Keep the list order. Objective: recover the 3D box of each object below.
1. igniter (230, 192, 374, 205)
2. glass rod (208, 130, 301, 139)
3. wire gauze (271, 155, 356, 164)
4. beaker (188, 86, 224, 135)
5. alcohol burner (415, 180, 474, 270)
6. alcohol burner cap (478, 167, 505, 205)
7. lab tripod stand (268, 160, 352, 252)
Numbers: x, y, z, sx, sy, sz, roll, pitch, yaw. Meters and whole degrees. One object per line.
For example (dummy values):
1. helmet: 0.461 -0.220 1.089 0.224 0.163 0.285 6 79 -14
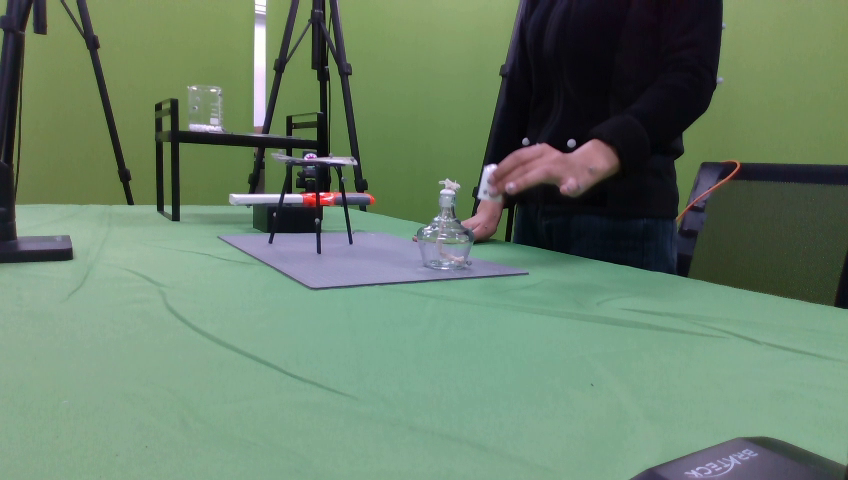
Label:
1. igniter: -0.228 -0.079 1.164 0.278 0.025 0.057 -2 14 -30
2. glass rod: -0.366 -0.231 1.320 0.201 0.008 0.008 -1 8 -30
3. wire gauze: -0.167 -0.122 0.917 0.125 0.011 0.121 0 7 -9
4. beaker: -0.474 -0.280 1.311 0.074 0.100 0.084 5 8 26
5. alcohol burner: 0.028 -0.020 0.798 0.078 0.119 0.078 3 5 0
6. alcohol burner cap: 0.088 -0.069 0.770 0.034 0.048 0.034 7 6 0
7. lab tripod stand: -0.171 -0.055 0.922 0.148 0.131 0.148 1 8 0
